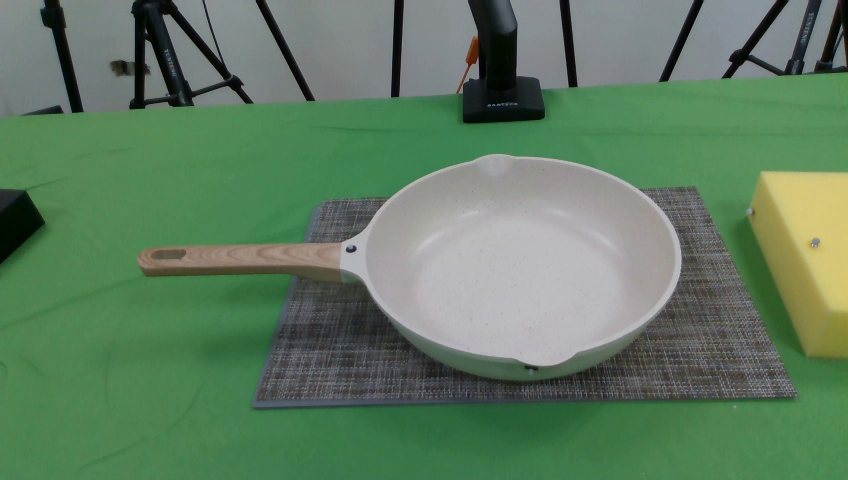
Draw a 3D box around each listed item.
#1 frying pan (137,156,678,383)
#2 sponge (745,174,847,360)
[{"bbox_3d":[-0.018,0.021,0.577,0.488,0.103,0.303,1,38,-4],"label":"frying pan"},{"bbox_3d":[0.396,0.018,0.568,0.118,0.061,0.205,1,39,9],"label":"sponge"}]
